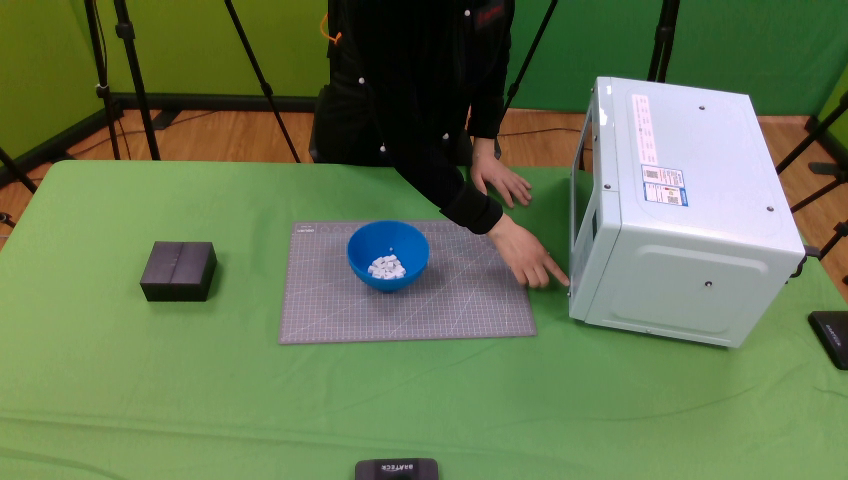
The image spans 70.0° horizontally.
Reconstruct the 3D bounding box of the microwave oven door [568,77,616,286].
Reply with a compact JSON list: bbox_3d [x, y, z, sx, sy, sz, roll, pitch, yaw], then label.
[{"bbox_3d":[0.319,-0.119,1.161,0.039,0.245,0.354,9,46,5],"label":"microwave oven door"}]

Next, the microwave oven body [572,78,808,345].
[{"bbox_3d":[0.456,-0.063,1.124,0.326,0.261,0.439,8,45,5],"label":"microwave oven body"}]

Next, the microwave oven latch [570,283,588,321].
[{"bbox_3d":[0.276,0.106,1.082,0.030,0.029,0.079,10,45,6],"label":"microwave oven latch"}]

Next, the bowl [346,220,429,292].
[{"bbox_3d":[-0.068,0.041,1.111,0.151,0.077,0.150,3,46,-2],"label":"bowl"}]
